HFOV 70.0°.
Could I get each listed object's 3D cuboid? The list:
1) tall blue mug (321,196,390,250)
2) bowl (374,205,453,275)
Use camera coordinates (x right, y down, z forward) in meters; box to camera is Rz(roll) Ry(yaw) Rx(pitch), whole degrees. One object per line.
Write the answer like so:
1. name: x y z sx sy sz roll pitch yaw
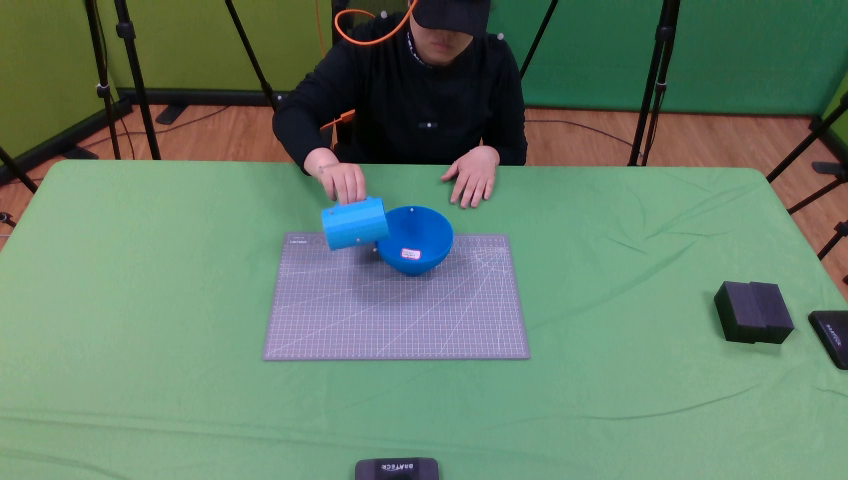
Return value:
1. tall blue mug: -0.125 -0.043 1.083 0.108 0.078 0.106 -12 68 -2
2. bowl: -0.022 0.013 1.143 0.151 0.077 0.150 2 46 -2
